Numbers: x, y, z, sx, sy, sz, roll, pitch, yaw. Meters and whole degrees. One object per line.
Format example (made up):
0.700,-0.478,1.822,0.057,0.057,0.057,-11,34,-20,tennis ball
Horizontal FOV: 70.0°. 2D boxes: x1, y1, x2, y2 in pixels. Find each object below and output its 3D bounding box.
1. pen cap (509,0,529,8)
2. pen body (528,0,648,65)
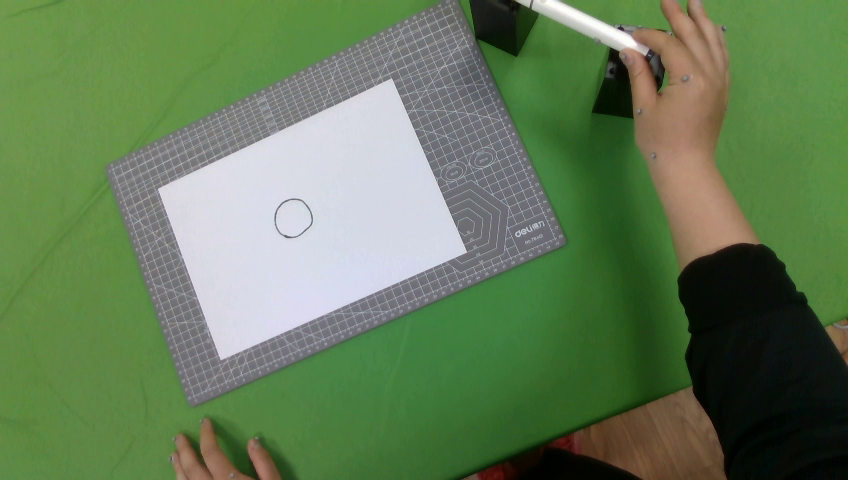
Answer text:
0.079,-0.225,0.547,0.038,0.017,0.017,29,90,12,pen cap
0.132,-0.198,0.536,0.143,0.017,0.017,35,91,9,pen body
